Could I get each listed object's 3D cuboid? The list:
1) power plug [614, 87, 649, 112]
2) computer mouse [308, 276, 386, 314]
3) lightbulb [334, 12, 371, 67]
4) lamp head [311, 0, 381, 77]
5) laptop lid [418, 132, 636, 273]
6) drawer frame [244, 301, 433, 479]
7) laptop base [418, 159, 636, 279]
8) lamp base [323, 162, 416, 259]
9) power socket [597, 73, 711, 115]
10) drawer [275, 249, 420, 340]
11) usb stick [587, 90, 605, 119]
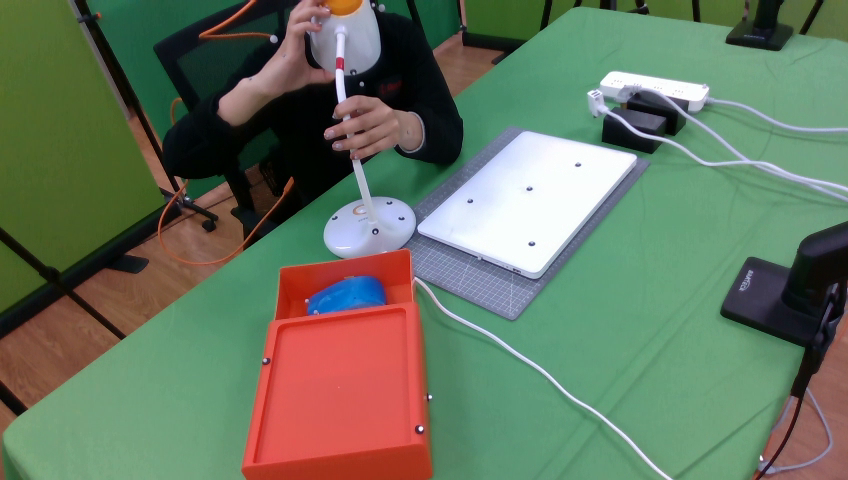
[{"bbox_3d":[0.406,-0.275,1.192,0.035,0.053,0.072,-15,24,-15],"label":"power plug"},{"bbox_3d":[-0.113,0.089,0.883,0.117,0.041,0.062,-15,40,-2],"label":"computer mouse"},{"bbox_3d":[-0.112,-0.315,0.944,0.060,0.108,0.059,2,71,-5],"label":"lightbulb"},{"bbox_3d":[-0.122,-0.325,0.921,0.112,0.123,0.112,1,72,-3],"label":"lamp head"},{"bbox_3d":[0.181,-0.084,1.036,0.239,0.013,0.358,22,49,35],"label":"laptop lid"},{"bbox_3d":[-0.096,0.185,0.739,0.202,0.083,0.212,-8,40,1],"label":"drawer frame"},{"bbox_3d":[0.185,-0.074,1.042,0.233,0.023,0.355,19,48,35],"label":"laptop base"},{"bbox_3d":[-0.098,-0.073,0.968,0.161,0.181,0.177,-24,44,-14],"label":"lamp base"},{"bbox_3d":[0.469,-0.304,1.249,0.225,0.033,0.072,20,49,30],"label":"power socket"},{"bbox_3d":[-0.104,0.116,0.826,0.194,0.073,0.210,-8,40,0],"label":"drawer"},{"bbox_3d":[0.334,-0.257,1.170,0.021,0.059,0.027,-28,44,-5],"label":"usb stick"}]
